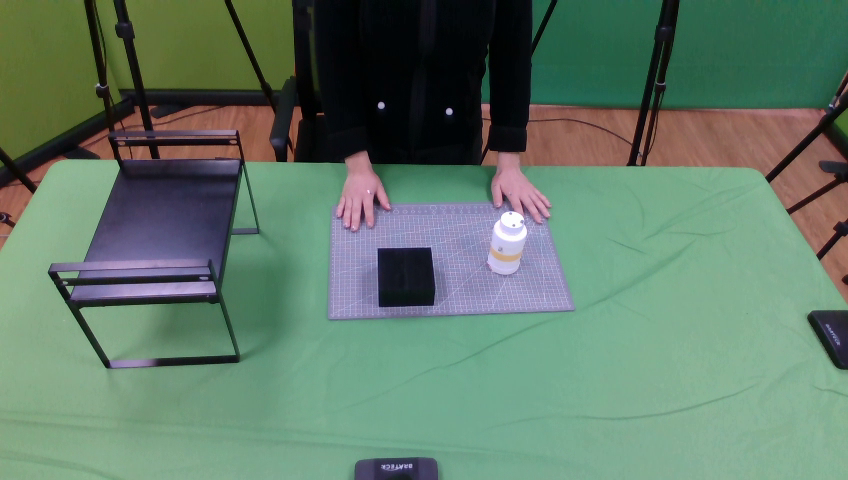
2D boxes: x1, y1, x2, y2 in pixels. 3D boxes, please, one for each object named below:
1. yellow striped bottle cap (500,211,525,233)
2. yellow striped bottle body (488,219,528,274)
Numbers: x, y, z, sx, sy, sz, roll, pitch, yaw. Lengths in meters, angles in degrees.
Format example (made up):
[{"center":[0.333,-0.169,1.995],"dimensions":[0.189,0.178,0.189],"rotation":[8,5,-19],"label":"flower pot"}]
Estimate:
[{"center":[0.160,-0.033,1.094],"dimensions":[0.044,0.019,0.044],"rotation":[4,46,-4],"label":"yellow striped bottle cap"},{"center":[0.158,0.003,1.132],"dimensions":[0.063,0.121,0.062],"rotation":[2,46,-2],"label":"yellow striped bottle body"}]
